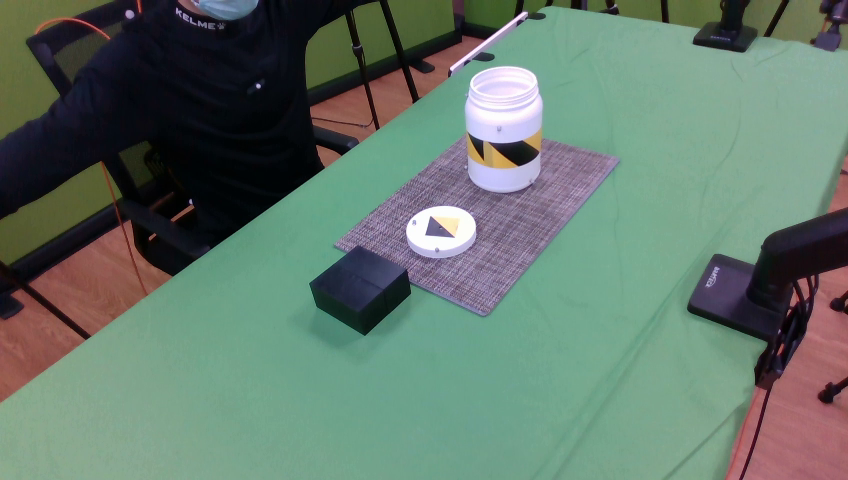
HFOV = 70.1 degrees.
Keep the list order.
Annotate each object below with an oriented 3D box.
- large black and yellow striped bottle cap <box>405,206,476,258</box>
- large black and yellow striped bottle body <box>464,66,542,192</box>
[{"bbox_3d":[0.027,-0.015,0.981,0.115,0.019,0.114,-3,41,3],"label":"large black and yellow striped bottle cap"},{"bbox_3d":[0.137,-0.190,1.040,0.131,0.185,0.130,-4,41,4],"label":"large black and yellow striped bottle body"}]
